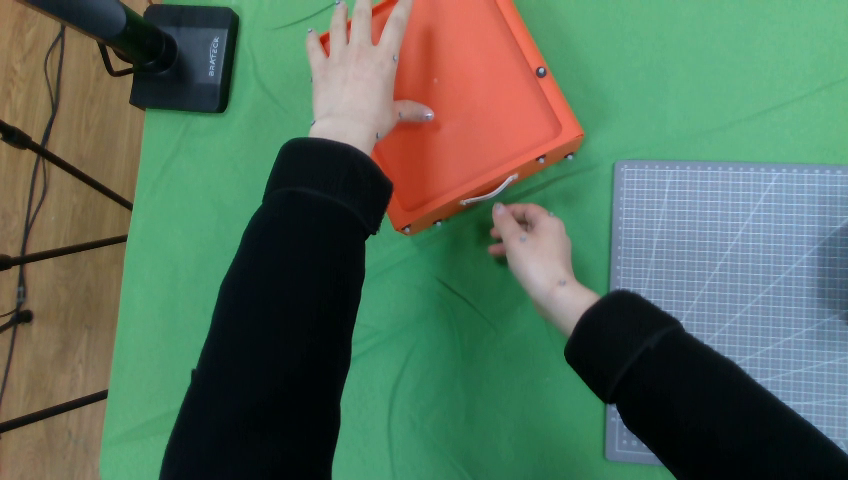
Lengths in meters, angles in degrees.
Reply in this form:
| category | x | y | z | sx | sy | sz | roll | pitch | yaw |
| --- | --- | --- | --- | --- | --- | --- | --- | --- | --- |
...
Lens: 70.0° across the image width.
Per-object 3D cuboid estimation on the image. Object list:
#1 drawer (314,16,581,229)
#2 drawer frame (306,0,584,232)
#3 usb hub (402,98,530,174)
| category | x | y | z | sx | sy | sz | roll | pitch | yaw |
| --- | --- | --- | --- | --- | --- | --- | --- | --- | --- |
| drawer | 0.022 | -0.145 | 0.610 | 0.194 | 0.073 | 0.211 | -27 | 82 | 7 |
| drawer frame | 0.019 | -0.146 | 0.608 | 0.201 | 0.083 | 0.213 | -28 | 82 | 6 |
| usb hub | 0.042 | -0.106 | 0.618 | 0.125 | 0.025 | 0.049 | -12 | 85 | 13 |
